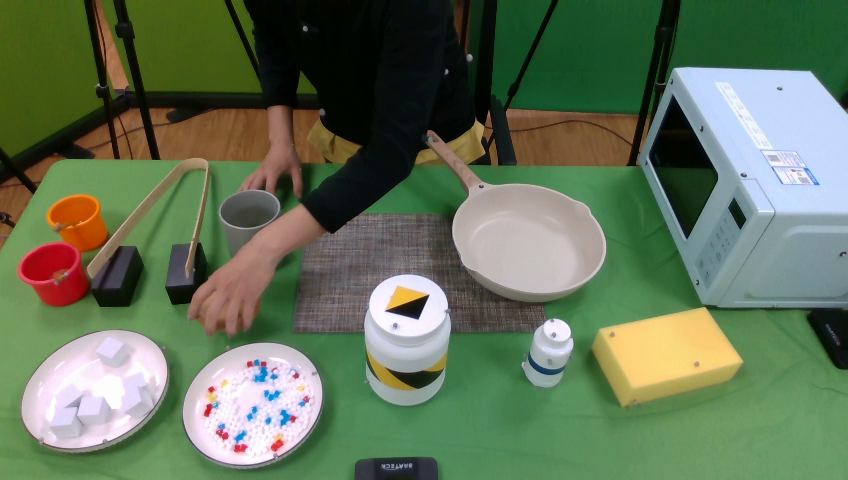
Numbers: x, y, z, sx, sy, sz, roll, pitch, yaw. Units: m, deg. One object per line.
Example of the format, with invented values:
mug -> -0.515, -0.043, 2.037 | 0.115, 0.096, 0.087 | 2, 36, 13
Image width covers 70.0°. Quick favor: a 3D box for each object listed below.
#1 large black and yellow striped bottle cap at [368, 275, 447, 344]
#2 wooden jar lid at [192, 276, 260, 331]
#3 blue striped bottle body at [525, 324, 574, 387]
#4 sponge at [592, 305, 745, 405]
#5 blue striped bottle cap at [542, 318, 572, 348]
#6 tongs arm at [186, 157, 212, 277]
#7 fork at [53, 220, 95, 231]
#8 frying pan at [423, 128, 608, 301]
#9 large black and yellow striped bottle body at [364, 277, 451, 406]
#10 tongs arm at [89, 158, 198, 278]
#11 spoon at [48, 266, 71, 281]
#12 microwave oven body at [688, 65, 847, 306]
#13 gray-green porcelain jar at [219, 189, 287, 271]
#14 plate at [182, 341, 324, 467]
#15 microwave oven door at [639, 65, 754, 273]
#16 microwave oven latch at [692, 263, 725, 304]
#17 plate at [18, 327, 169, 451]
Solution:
large black and yellow striped bottle cap -> -0.024, 0.098, 0.871 | 0.115, 0.019, 0.114 | 2, 45, -2
wooden jar lid -> -0.329, 0.109, 1.014 | 0.108, 0.021, 0.107 | 6, 49, -7
blue striped bottle body -> 0.202, 0.179, 0.970 | 0.063, 0.121, 0.062 | 2, 46, -2
sponge -> 0.405, 0.189, 1.014 | 0.207, 0.061, 0.117 | -10, 48, -12
blue striped bottle cap -> 0.205, 0.143, 0.933 | 0.044, 0.021, 0.044 | 0, 47, 0
tongs arm -> -0.445, -0.058, 1.168 | 0.051, 0.026, 0.382 | -5, 37, -6
fork -> -0.627, -0.027, 1.086 | 0.028, 0.018, 0.207 | 0, 2, -15
frying pan -> 0.142, -0.069, 1.209 | 0.307, 0.103, 0.485 | -24, 61, -25
large black and yellow striped bottle body -> -0.026, 0.155, 0.933 | 0.131, 0.185, 0.130 | 2, 47, -2
tongs arm -> -0.530, -0.057, 1.164 | 0.028, 0.028, 0.385 | 1, 36, 8
spoon -> -0.609, 0.057, 1.010 | 0.041, 0.022, 0.193 | -33, 14, -27
microwave oven body -> 0.669, -0.111, 1.176 | 0.326, 0.261, 0.439 | 0, 46, -3
gray-green porcelain jar -> -0.310, -0.014, 1.113 | 0.106, 0.127, 0.105 | 2, 47, -2
plate -> -0.257, 0.250, 0.927 | 0.209, 0.038, 0.208 | 3, 46, -3
microwave oven door -> 0.522, -0.147, 1.193 | 0.039, 0.245, 0.353 | 0, 47, -3
microwave oven latch -> 0.522, 0.081, 1.116 | 0.030, 0.029, 0.078 | 1, 46, -2
plate -> -0.498, 0.229, 0.929 | 0.208, 0.039, 0.206 | 2, 47, -2
